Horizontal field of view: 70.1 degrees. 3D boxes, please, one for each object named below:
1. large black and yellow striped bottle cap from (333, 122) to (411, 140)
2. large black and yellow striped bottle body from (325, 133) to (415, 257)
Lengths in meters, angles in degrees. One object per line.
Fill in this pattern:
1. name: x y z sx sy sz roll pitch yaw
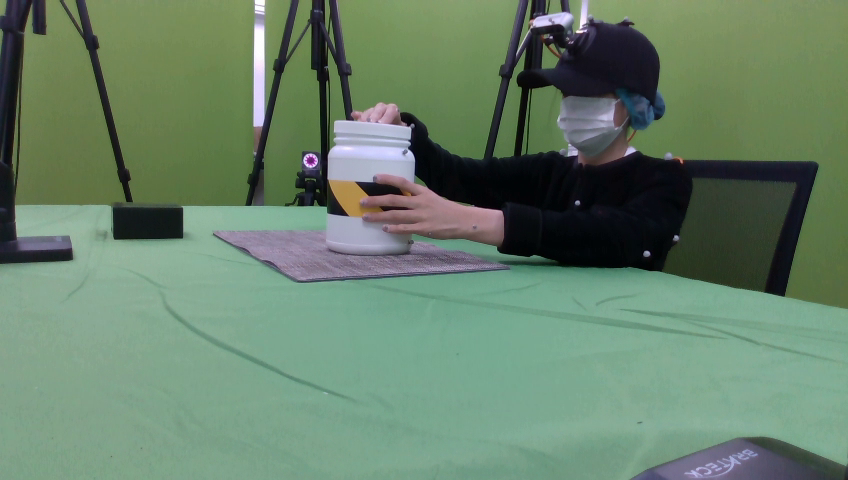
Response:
1. large black and yellow striped bottle cap: -0.076 -0.161 0.893 0.115 0.019 0.115 5 6 0
2. large black and yellow striped bottle body: -0.081 -0.074 0.905 0.131 0.184 0.130 3 7 0
